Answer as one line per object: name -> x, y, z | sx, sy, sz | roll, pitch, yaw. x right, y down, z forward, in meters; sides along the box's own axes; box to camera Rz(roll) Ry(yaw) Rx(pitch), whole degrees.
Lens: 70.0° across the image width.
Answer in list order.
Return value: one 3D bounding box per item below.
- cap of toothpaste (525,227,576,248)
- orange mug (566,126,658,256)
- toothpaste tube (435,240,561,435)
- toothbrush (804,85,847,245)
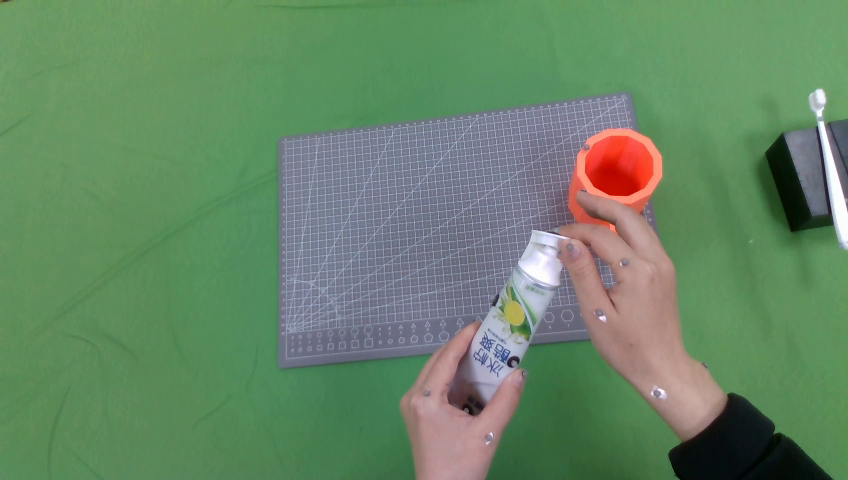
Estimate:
cap of toothpaste -> 0.091, -0.002, 0.437 | 0.037, 0.037, 0.011 | 11, 89, 11
orange mug -> 0.203, -0.050, 0.663 | 0.083, 0.101, 0.125 | 2, 69, 8
toothpaste tube -> 0.058, 0.071, 0.465 | 0.054, 0.035, 0.165 | 36, 113, 32
toothbrush -> 0.426, -0.082, 0.639 | 0.014, 0.017, 0.181 | -1, 73, 4
